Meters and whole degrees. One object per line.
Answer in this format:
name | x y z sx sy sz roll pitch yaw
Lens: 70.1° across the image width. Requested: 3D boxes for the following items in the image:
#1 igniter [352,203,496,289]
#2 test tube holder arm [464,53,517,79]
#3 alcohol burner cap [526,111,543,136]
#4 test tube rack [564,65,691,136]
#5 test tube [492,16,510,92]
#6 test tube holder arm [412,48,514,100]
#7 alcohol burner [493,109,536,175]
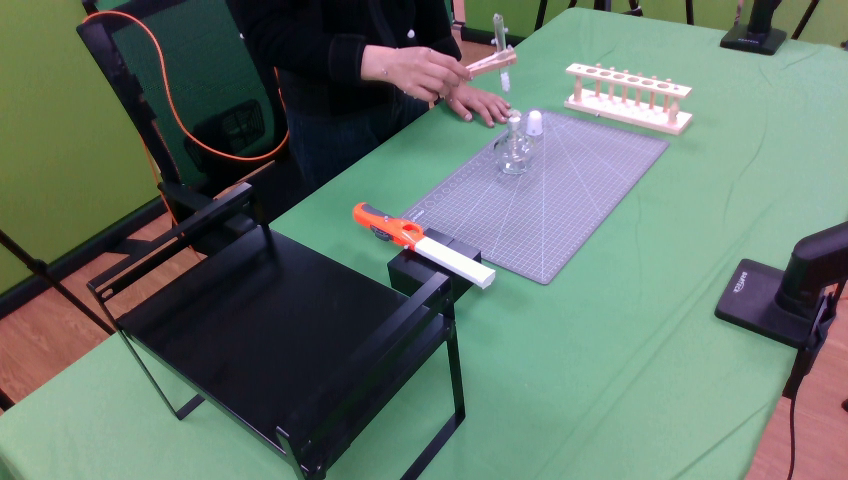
igniter | -0.011 0.002 0.899 0.274 0.025 0.057 27 45 33
test tube holder arm | 0.107 -0.283 0.983 0.088 0.015 0.010 -17 57 5
alcohol burner cap | 0.219 -0.232 1.196 0.034 0.048 0.033 -4 41 4
test tube rack | 0.404 -0.288 1.204 0.240 0.085 0.067 24 49 32
test tube | 0.126 -0.297 0.980 0.017 0.151 0.017 -6 57 10
test tube holder arm | 0.064 -0.271 0.988 0.178 0.015 0.013 -23 56 1
alcohol burner | 0.163 -0.179 1.087 0.078 0.119 0.077 -5 38 5
